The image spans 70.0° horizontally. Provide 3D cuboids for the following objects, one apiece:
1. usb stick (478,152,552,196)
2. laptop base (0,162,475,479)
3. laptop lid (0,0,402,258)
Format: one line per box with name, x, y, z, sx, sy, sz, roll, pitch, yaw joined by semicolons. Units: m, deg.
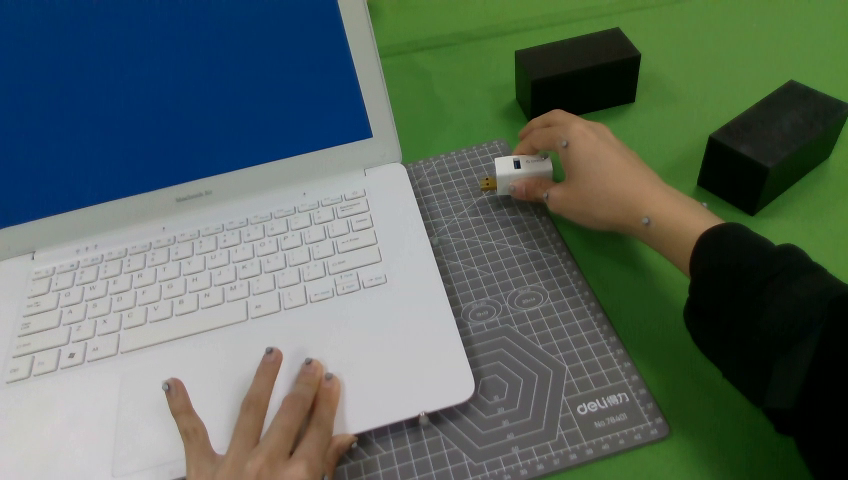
usb stick;0.072;-0.051;0.482;0.059;0.027;0.021;-9;47;7
laptop base;-0.161;0.062;0.443;0.354;0.023;0.233;-15;51;-4
laptop lid;-0.208;-0.117;0.456;0.357;0.244;0.013;-16;33;-3
